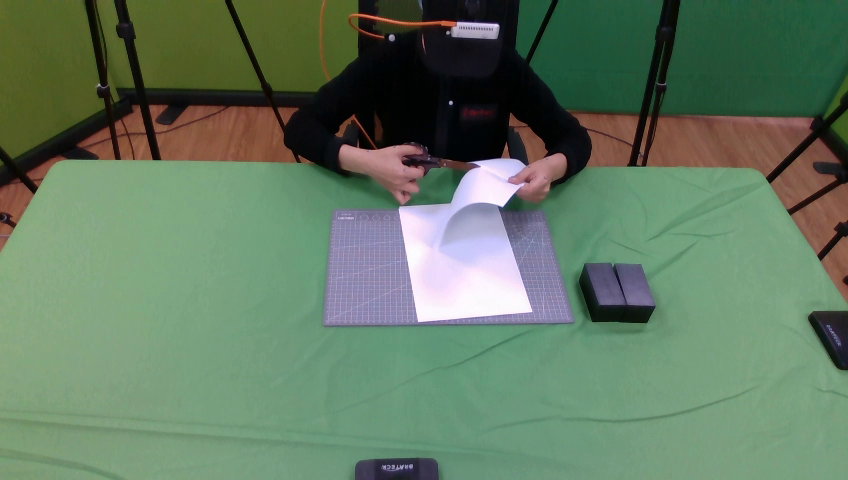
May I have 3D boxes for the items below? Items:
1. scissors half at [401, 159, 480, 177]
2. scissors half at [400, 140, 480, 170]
[{"bbox_3d":[0.033,-0.150,1.240,0.175,0.040,0.012,-1,32,27],"label":"scissors half"},{"bbox_3d":[0.032,-0.168,1.228,0.175,0.040,0.013,19,43,12],"label":"scissors half"}]
